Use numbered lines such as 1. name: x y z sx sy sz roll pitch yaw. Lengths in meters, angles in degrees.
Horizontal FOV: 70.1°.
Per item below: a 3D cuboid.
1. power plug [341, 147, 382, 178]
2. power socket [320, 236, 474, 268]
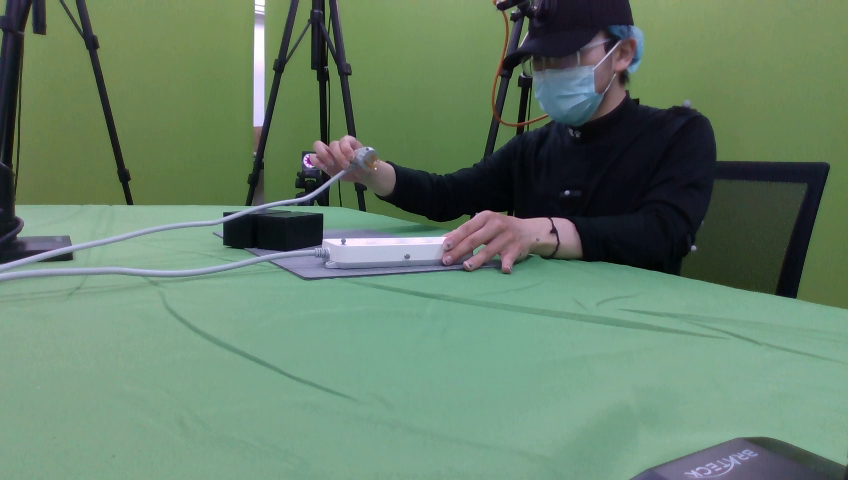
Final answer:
1. power plug: -0.103 -0.126 1.033 0.052 0.072 0.035 41 25 27
2. power socket: -0.033 0.014 0.823 0.228 0.032 0.072 -2 7 -30
